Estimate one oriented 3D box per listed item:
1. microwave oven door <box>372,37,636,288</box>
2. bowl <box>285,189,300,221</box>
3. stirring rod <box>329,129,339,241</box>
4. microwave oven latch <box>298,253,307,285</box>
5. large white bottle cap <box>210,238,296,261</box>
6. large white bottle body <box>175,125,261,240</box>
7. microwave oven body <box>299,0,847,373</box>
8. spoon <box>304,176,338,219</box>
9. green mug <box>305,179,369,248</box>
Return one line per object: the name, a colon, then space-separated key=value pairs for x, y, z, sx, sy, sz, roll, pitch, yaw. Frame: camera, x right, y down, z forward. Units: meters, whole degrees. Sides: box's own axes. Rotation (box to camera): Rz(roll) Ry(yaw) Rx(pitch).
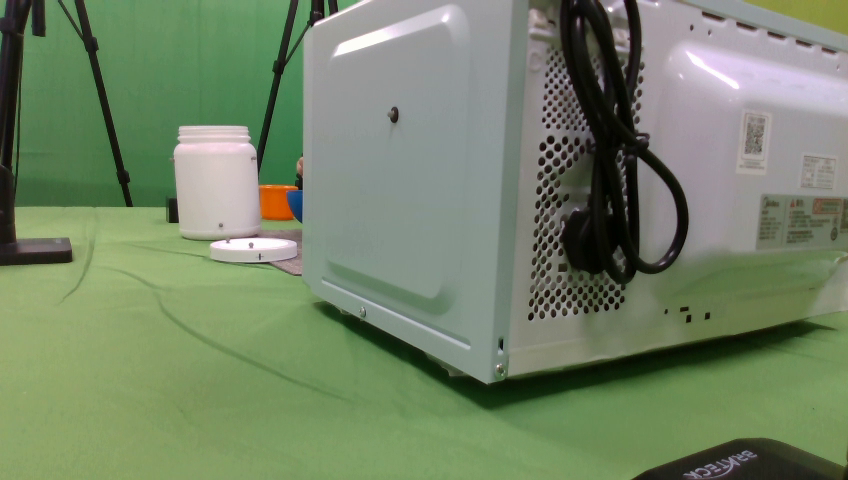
microwave oven door: x=0.110 y=-0.080 z=0.686 sx=0.358 sy=0.243 sz=0.039 roll=-2 pitch=9 yaw=-33
bowl: x=-0.180 y=-0.051 z=1.113 sx=0.151 sy=0.077 sz=0.151 roll=2 pitch=8 yaw=0
stirring rod: x=-0.141 y=-0.084 z=0.944 sx=0.006 sy=0.176 sz=0.014 roll=3 pitch=11 yaw=-11
microwave oven latch: x=-0.081 y=0.027 z=0.583 sx=0.079 sy=0.029 sz=0.030 roll=-2 pitch=8 yaw=-33
large white bottle cap: x=-0.236 y=0.012 z=0.839 sx=0.115 sy=0.018 sz=0.115 roll=1 pitch=8 yaw=0
large white bottle body: x=-0.349 y=-0.100 z=1.025 sx=0.131 sy=0.184 sz=0.130 roll=-1 pitch=9 yaw=0
microwave oven body: x=0.152 y=-0.055 z=0.542 sx=0.444 sy=0.260 sz=0.324 roll=-2 pitch=7 yaw=-33
spoon: x=-0.201 y=-0.084 z=1.146 sx=0.042 sy=0.021 sz=0.193 roll=3 pitch=30 yaw=-25
green mug: x=-0.133 y=-0.044 z=0.977 sx=0.092 sy=0.105 sz=0.126 roll=6 pitch=8 yaw=31
